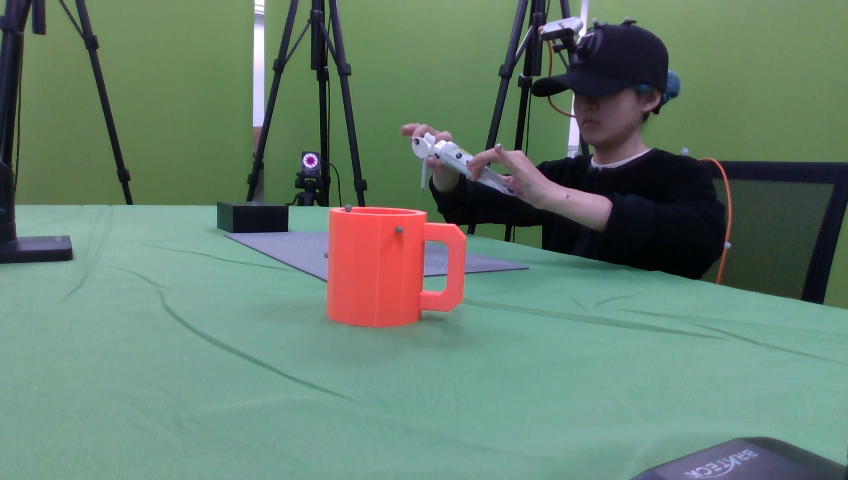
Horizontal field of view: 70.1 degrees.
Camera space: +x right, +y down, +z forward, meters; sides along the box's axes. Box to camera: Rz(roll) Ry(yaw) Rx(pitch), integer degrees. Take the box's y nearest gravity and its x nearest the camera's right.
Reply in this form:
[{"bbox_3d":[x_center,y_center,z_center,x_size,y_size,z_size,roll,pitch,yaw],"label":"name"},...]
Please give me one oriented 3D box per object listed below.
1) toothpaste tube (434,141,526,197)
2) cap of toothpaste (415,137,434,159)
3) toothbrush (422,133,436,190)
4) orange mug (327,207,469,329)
[{"bbox_3d":[0.076,-0.106,0.906,0.164,0.034,0.055,36,25,30],"label":"toothpaste tube"},{"bbox_3d":[0.001,-0.144,0.940,0.037,0.037,0.011,9,34,40],"label":"cap of toothpaste"},{"bbox_3d":[0.006,-0.128,1.024,0.016,0.014,0.182,21,-21,5],"label":"toothbrush"},{"bbox_3d":[-0.024,0.021,0.535,0.126,0.100,0.083,-1,6,8],"label":"orange mug"}]
